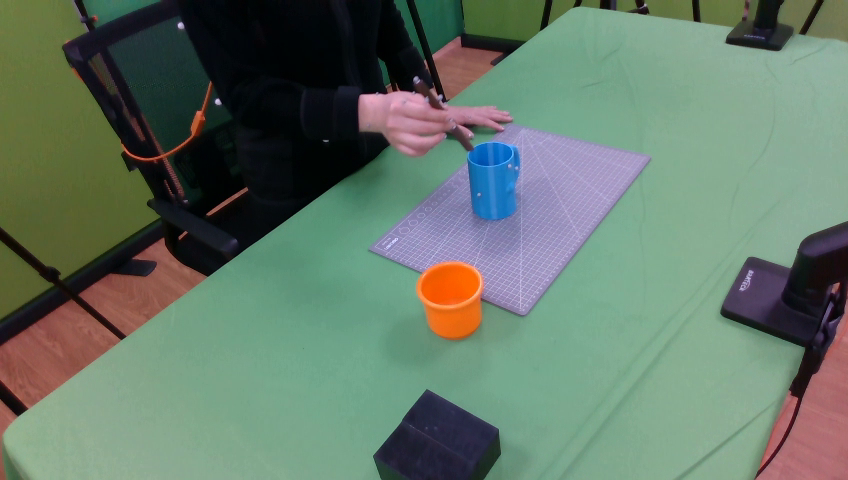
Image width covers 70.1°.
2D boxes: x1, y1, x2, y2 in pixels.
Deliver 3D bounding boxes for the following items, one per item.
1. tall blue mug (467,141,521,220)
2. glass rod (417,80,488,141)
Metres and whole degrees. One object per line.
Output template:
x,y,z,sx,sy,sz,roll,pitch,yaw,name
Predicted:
0.119,-0.109,1.020,0.077,0.108,0.107,3,42,15,tall blue mug
0.045,-0.180,0.863,0.008,0.201,0.008,-10,71,30,glass rod
